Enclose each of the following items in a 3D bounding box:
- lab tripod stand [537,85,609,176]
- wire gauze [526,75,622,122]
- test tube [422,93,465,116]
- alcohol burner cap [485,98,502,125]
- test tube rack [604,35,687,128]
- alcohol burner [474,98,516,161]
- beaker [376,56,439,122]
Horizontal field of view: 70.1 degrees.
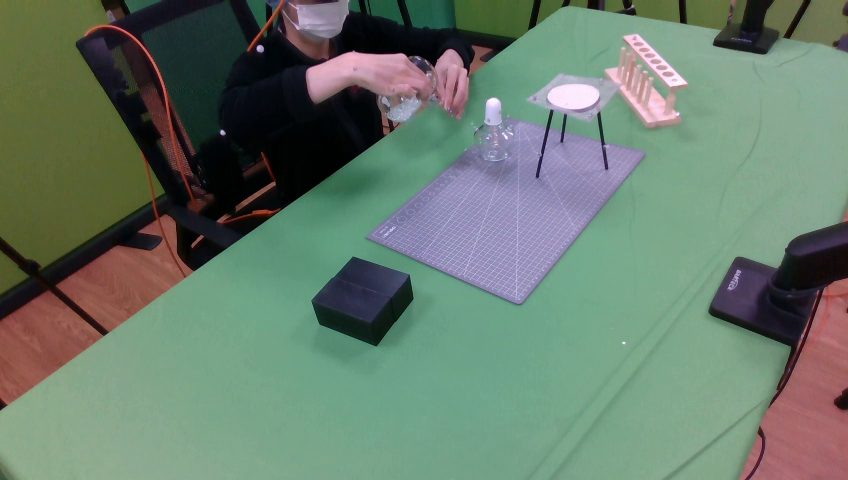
[{"bbox_3d":[0.259,-0.192,1.068,0.148,0.132,0.147,-4,42,4],"label":"lab tripod stand"},{"bbox_3d":[0.255,-0.248,1.030,0.124,0.011,0.122,24,51,32],"label":"wire gauze"},{"bbox_3d":[0.040,-0.256,1.143,0.017,0.017,0.151,20,10,29],"label":"test tube"},{"bbox_3d":[0.126,-0.234,1.097,0.034,0.048,0.033,-3,39,3],"label":"alcohol burner cap"},{"bbox_3d":[0.447,-0.330,1.241,0.067,0.085,0.241,-9,41,-2],"label":"test tube rack"},{"bbox_3d":[0.131,-0.208,1.121,0.078,0.119,0.077,-5,40,5],"label":"alcohol burner"},{"bbox_3d":[-0.029,-0.252,1.028,0.073,0.084,0.100,6,45,32],"label":"beaker"}]
